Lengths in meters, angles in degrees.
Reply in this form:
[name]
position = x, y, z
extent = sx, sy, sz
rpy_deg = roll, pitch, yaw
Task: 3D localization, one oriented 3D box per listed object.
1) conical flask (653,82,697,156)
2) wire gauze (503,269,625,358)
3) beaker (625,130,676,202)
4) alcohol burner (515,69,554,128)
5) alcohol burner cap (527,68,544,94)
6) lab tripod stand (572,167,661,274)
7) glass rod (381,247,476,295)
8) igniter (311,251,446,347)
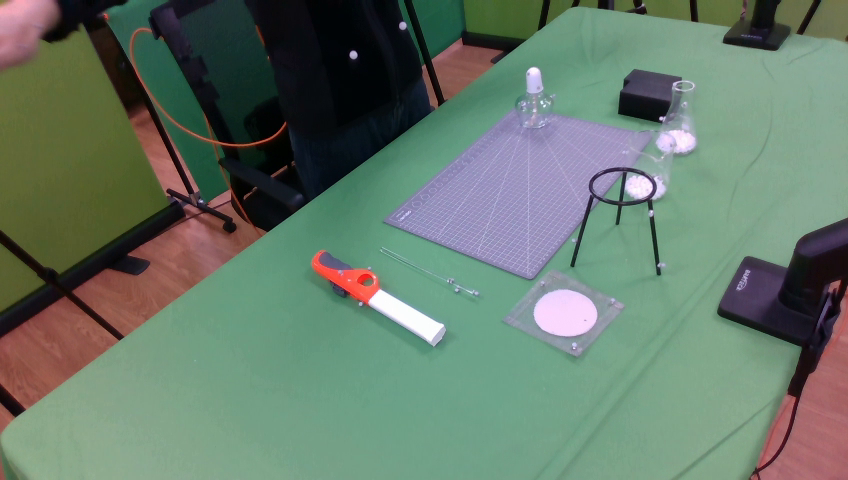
[conical flask]
position = 0.454, -0.218, 1.077
extent = 0.075, 0.122, 0.075
rpy_deg = -5, 40, 5
[wire gauze]
position = 0.194, 0.100, 0.840
extent = 0.120, 0.011, 0.125
rpy_deg = 27, 54, 36
[beaker]
position = 0.369, -0.117, 0.992
extent = 0.074, 0.101, 0.083
rpy_deg = -6, 41, 5
[alcohol burner]
position = 0.221, -0.285, 1.203
extent = 0.078, 0.119, 0.077
rpy_deg = -4, 39, 4
[alcohol burner cap]
position = 0.216, -0.312, 1.179
extent = 0.034, 0.048, 0.033
rpy_deg = -10, 40, 9
[lab tripod stand]
position = 0.283, -0.030, 0.879
extent = 0.148, 0.132, 0.147
rpy_deg = -7, 38, 6
[glass rod]
position = 0.002, 0.047, 0.939
extent = 0.198, 0.008, 0.008
rpy_deg = 23, 50, 36
[igniter]
position = -0.078, 0.081, 0.899
extent = 0.274, 0.025, 0.057
rpy_deg = 27, 62, 35
